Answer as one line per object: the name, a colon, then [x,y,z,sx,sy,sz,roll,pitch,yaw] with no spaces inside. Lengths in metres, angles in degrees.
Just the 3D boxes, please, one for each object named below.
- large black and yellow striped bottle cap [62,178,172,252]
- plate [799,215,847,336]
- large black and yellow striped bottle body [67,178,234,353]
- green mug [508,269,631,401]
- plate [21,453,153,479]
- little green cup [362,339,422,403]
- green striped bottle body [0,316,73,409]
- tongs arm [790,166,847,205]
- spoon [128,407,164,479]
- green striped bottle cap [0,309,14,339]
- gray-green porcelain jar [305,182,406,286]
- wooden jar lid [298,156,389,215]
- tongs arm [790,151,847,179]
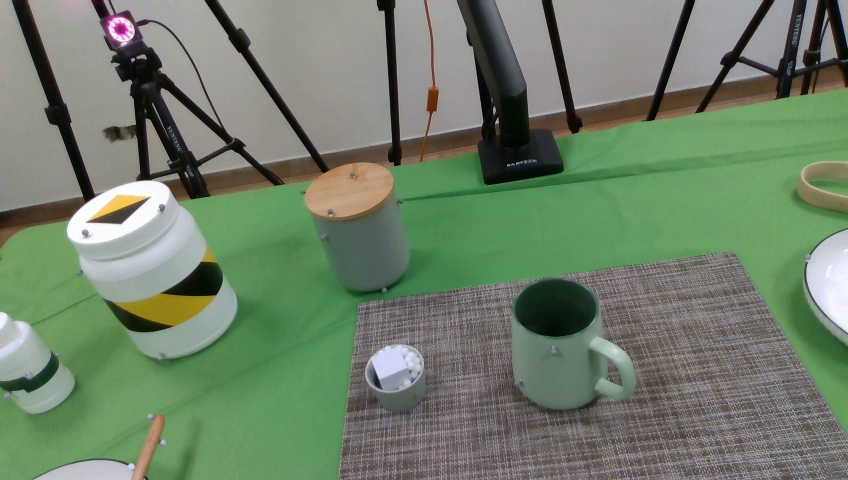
large black and yellow striped bottle cap: [-0.337,-0.030,0.667,0.115,0.019,0.114,-8,38,7]
plate: [0.484,0.047,0.595,0.207,0.039,0.205,-8,40,7]
large black and yellow striped bottle body: [-0.322,0.031,0.722,0.130,0.186,0.129,-8,40,7]
green mug: [0.137,0.098,0.573,0.124,0.106,0.092,25,53,38]
plate: [-0.328,0.290,0.533,0.209,0.038,0.207,-8,39,7]
little green cup: [-0.031,0.137,0.626,0.061,0.039,0.061,-7,39,6]
green striped bottle body: [-0.464,0.134,0.690,0.063,0.120,0.062,-8,40,7]
tongs arm: [0.606,-0.022,0.650,0.384,0.028,0.028,20,58,34]
spoon: [-0.268,0.238,0.553,0.041,0.022,0.192,-6,48,6]
green striped bottle cap: [-0.473,0.095,0.658,0.044,0.020,0.044,-5,41,5]
gray-green porcelain jar: [-0.082,-0.015,0.756,0.106,0.128,0.105,-7,40,7]
wooden jar lid: [-0.093,-0.062,0.717,0.108,0.021,0.107,-7,43,7]
tongs arm: [0.643,-0.074,0.694,0.382,0.027,0.050,9,49,26]
